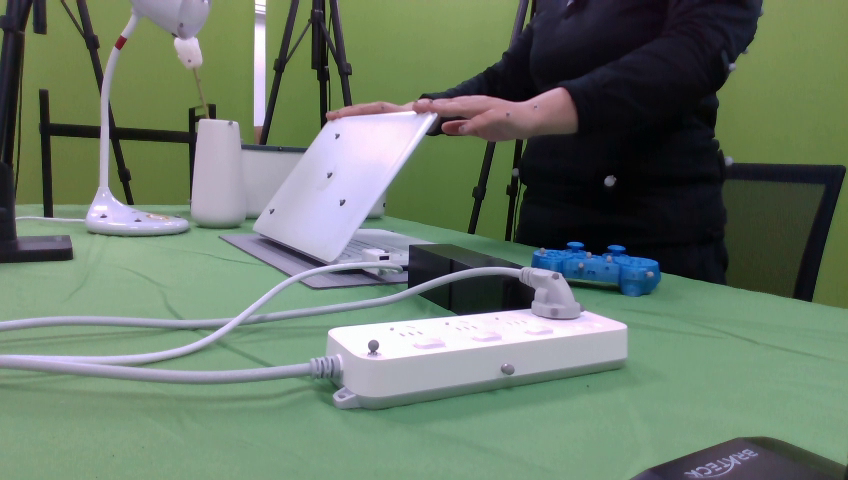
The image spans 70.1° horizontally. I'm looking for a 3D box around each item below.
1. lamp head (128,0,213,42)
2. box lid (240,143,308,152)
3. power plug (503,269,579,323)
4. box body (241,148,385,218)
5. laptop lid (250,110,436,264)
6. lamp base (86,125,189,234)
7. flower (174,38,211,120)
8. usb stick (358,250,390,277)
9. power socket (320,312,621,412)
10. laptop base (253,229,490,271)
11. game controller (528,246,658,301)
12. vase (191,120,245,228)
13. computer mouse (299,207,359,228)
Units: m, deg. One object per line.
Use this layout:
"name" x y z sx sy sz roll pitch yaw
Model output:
"lamp head" -0.423 -0.394 0.980 0.123 0.112 0.112 20 7 -3
"box lid" -0.295 -0.217 1.463 0.373 0.015 0.262 -1 8 -29
"power plug" 0.091 0.051 0.469 0.035 0.052 0.072 0 6 -18
"box body" -0.297 -0.143 1.475 0.366 0.160 0.253 -1 9 -30
"laptop lid" -0.135 -0.090 0.871 0.013 0.241 0.355 40 -12 -30
"lamp base" -0.497 -0.105 1.027 0.179 0.180 0.160 1 7 2
"flower" -0.401 -0.207 1.141 0.038 0.361 0.044 -14 3 44
"usb stick" -0.062 0.026 0.708 0.021 0.027 0.059 -3 5 -29
"power socket" 0.038 0.075 0.409 0.228 0.032 0.072 -2 8 -29
"laptop base" -0.096 0.012 0.912 0.237 0.023 0.352 2 7 -32
"game controller" 0.202 0.037 0.733 0.155 0.051 0.097 5 10 19
"vase" -0.389 -0.124 1.143 0.098 0.200 0.098 3 9 0
"computer mouse" -0.195 -0.046 1.240 0.117 0.041 0.063 -1 9 12
